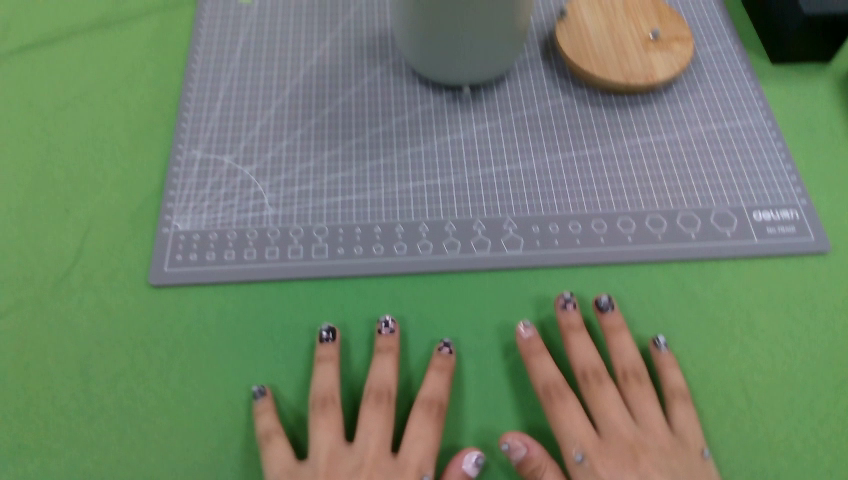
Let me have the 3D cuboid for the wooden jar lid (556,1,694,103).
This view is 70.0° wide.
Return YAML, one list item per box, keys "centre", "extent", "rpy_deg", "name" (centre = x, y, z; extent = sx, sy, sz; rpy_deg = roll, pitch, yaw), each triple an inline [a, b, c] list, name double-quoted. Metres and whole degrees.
- centre: [0.159, -0.150, 0.488]
  extent: [0.108, 0.021, 0.107]
  rpy_deg: [0, 59, 0]
  name: "wooden jar lid"

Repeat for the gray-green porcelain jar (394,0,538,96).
- centre: [0.030, -0.179, 0.440]
  extent: [0.106, 0.127, 0.105]
  rpy_deg: [1, 59, -1]
  name: "gray-green porcelain jar"
